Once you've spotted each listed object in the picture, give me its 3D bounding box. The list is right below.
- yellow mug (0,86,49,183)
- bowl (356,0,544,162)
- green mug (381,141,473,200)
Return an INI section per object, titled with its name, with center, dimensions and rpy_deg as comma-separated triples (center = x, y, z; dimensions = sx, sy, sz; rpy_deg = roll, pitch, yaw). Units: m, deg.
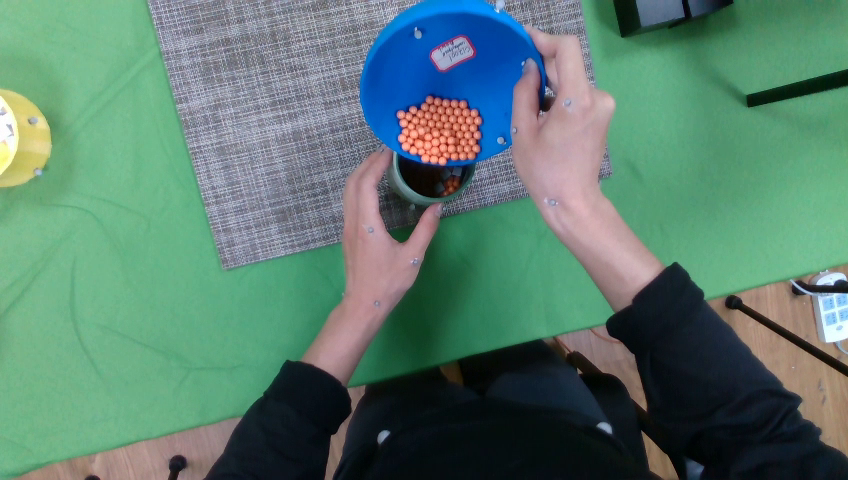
[yellow mug]
center = -0.439, -0.090, 0.590
dimensions = 0.100, 0.064, 0.131
rpy_deg = 19, 94, -9
[bowl]
center = 0.020, -0.148, 0.509
dimensions = 0.151, 0.076, 0.153
rpy_deg = -2, 139, -2
[green mug]
center = 0.004, -0.103, 0.619
dimensions = 0.093, 0.104, 0.125
rpy_deg = 2, 96, -6
